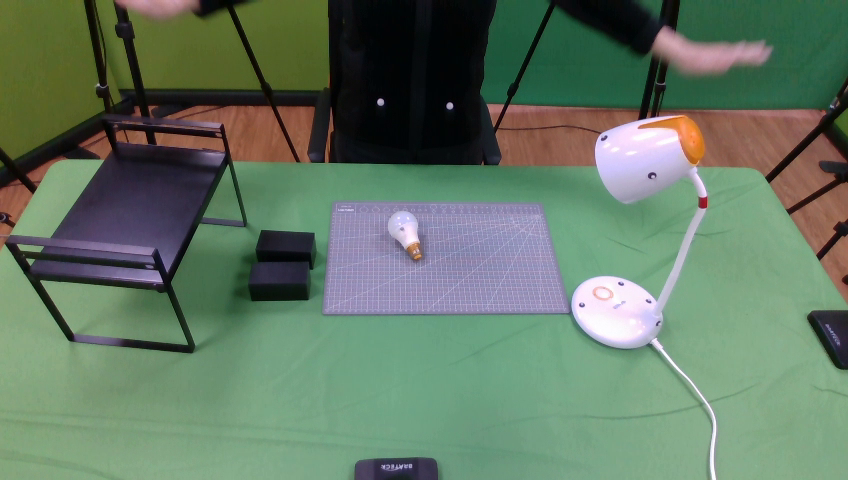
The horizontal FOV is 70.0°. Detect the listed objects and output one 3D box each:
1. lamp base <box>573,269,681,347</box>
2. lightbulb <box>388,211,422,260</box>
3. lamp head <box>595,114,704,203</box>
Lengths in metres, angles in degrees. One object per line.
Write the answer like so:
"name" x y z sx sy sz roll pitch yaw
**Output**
"lamp base" 0.361 0.080 1.035 0.160 0.181 0.178 -34 59 -31
"lightbulb" -0.033 -0.008 1.180 0.059 0.060 0.107 -17 65 -19
"lamp head" 0.316 -0.116 0.827 0.122 0.113 0.112 -15 28 45
